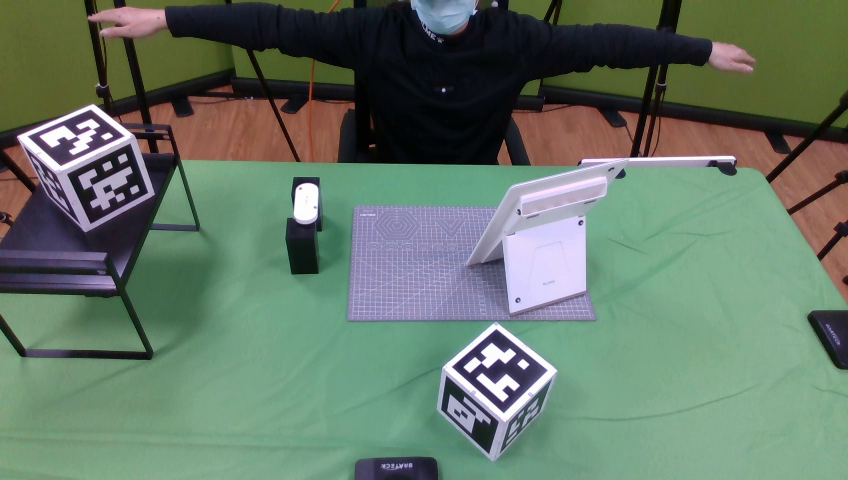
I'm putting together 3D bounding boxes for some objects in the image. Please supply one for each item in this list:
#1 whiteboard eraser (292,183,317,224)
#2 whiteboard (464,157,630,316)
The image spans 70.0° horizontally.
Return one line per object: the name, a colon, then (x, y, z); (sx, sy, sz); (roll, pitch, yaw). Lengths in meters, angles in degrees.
whiteboard eraser: (-0.217, -0.068, 1.108); (0.041, 0.019, 0.100); (-2, 46, -4)
whiteboard: (0.224, 0.015, 1.042); (0.217, 0.306, 0.143); (-14, 68, -17)
